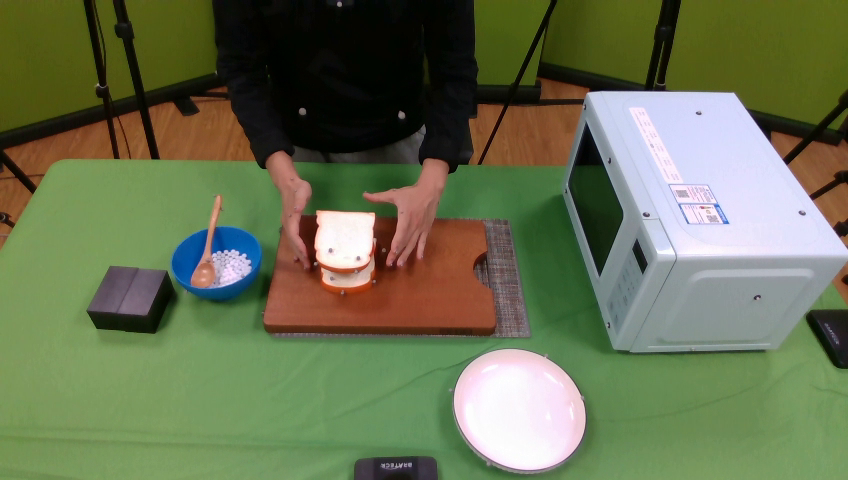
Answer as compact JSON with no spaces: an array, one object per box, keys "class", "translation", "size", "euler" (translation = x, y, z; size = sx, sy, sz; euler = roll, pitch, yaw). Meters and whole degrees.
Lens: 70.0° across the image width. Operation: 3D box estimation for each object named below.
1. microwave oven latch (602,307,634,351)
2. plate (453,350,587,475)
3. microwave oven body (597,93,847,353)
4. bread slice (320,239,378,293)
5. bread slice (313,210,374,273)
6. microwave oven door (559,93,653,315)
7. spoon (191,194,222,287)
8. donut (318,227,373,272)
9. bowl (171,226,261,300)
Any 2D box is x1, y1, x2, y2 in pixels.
[{"class":"microwave oven latch","translation":[0.332,0.153,1.044],"size":[0.030,0.029,0.078],"euler":[0,45,-4]},{"class":"plate","translation":[0.147,0.267,0.943],"size":[0.208,0.039,0.206],"euler":[2,45,-2]},{"class":"microwave oven body","translation":[0.475,-0.041,1.109],"size":[0.326,0.261,0.438],"euler":[-1,45,-4]},{"class":"bread slice","translation":[-0.139,0.044,1.111],"size":[0.105,0.019,0.130],"euler":[1,45,-3]},{"class":"bread slice","translation":[-0.140,0.000,1.069],"size":[0.107,0.018,0.133],"euler":[0,52,-6]},{"class":"microwave oven door","translation":[0.327,-0.074,1.123],"size":[0.039,0.245,0.353],"euler":[-1,46,-5]},{"class":"spoon","translation":[-0.383,0.000,1.088],"size":[0.041,0.022,0.193],"euler":[0,66,5]},{"class":"donut","translation":[-0.141,0.017,1.094],"size":[0.099,0.048,0.098],"euler":[2,46,-2]},{"class":"bowl","translation":[-0.363,0.054,1.081],"size":[0.151,0.077,0.150],"euler":[3,45,-2]}]
